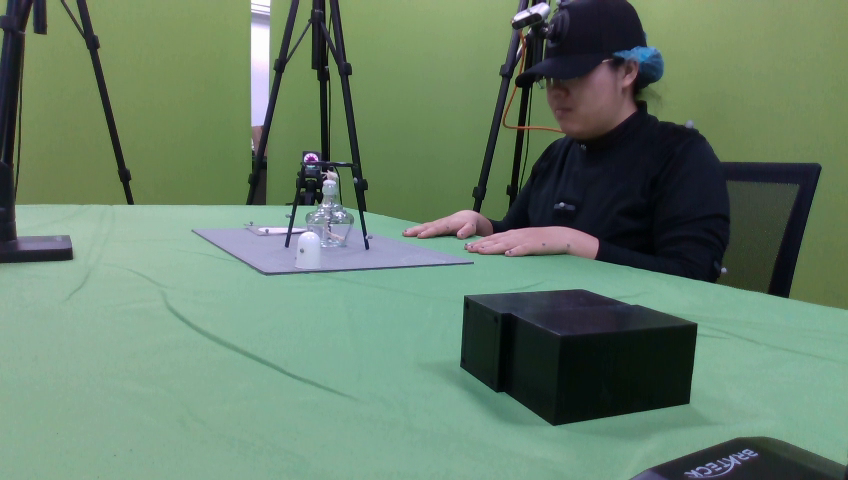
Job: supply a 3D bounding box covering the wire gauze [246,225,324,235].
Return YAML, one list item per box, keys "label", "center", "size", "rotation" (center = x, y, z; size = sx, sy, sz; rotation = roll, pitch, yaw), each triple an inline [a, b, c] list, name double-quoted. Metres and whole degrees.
- label: "wire gauze"
  center: [-0.256, -0.020, 1.108]
  size: [0.122, 0.011, 0.124]
  rotation: [-1, 6, -28]

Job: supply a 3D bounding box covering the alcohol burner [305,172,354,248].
- label: "alcohol burner"
  center: [-0.148, -0.048, 0.949]
  size: [0.078, 0.119, 0.078]
  rotation: [1, 6, 0]

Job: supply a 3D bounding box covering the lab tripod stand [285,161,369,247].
- label: "lab tripod stand"
  center: [-0.151, -0.058, 0.947]
  size: [0.148, 0.131, 0.148]
  rotation: [1, 6, 0]

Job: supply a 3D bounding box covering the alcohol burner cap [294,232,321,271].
- label: "alcohol burner cap"
  center: [-0.144, 0.013, 0.748]
  size: [0.034, 0.048, 0.034]
  rotation: [3, 6, 0]
